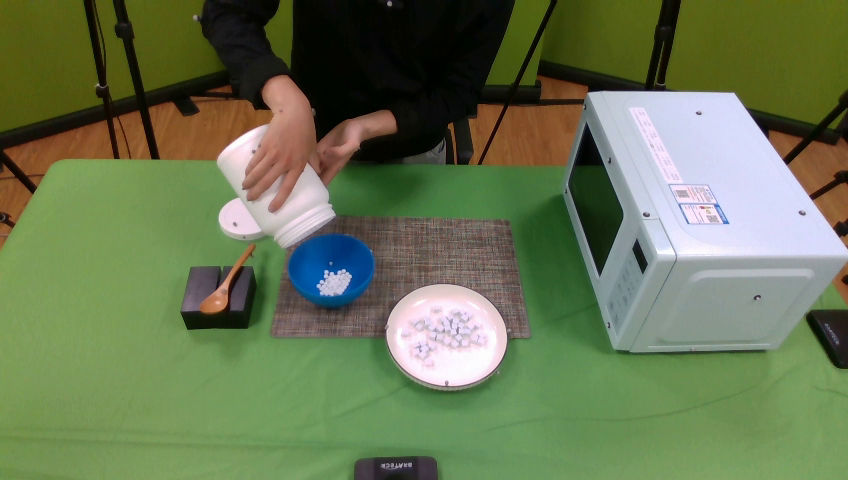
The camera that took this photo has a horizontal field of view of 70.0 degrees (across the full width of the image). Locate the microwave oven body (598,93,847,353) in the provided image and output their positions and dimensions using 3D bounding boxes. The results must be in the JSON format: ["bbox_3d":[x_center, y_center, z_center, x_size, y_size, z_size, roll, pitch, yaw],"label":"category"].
[{"bbox_3d":[0.475,-0.041,1.109,0.326,0.261,0.438,-1,45,-4],"label":"microwave oven body"}]

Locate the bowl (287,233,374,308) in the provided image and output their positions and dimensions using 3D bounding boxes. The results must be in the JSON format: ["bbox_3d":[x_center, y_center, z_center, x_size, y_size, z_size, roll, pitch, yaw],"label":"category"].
[{"bbox_3d":[-0.164,0.068,1.078,0.151,0.077,0.150,3,46,-2],"label":"bowl"}]

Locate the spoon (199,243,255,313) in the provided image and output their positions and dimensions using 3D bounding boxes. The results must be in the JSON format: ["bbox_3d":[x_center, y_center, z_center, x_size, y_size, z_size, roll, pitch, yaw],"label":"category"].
[{"bbox_3d":[-0.334,0.062,1.052,0.041,0.022,0.193,8,40,8],"label":"spoon"}]

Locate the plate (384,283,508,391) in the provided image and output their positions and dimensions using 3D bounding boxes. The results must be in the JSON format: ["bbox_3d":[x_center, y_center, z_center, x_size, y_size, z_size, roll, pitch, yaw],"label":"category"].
[{"bbox_3d":[0.036,0.165,1.029,0.209,0.038,0.208,2,49,-2],"label":"plate"}]

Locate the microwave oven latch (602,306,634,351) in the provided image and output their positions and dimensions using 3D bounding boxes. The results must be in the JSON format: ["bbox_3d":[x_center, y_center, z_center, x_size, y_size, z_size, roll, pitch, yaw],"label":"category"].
[{"bbox_3d":[0.332,0.153,1.044,0.030,0.029,0.078,0,45,-4],"label":"microwave oven latch"}]

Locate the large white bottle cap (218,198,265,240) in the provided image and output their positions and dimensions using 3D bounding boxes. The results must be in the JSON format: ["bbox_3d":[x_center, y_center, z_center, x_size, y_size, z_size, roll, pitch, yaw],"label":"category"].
[{"bbox_3d":[-0.355,-0.045,1.220,0.115,0.018,0.114,2,45,-2],"label":"large white bottle cap"}]

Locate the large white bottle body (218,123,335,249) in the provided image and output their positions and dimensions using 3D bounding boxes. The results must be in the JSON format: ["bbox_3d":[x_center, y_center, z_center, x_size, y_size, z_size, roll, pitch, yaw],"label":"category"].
[{"bbox_3d":[-0.245,-0.088,1.029,0.130,0.130,0.184,-34,93,-32],"label":"large white bottle body"}]

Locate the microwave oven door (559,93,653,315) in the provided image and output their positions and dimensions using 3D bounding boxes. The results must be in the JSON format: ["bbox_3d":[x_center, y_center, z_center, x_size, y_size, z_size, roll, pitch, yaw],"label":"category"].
[{"bbox_3d":[0.327,-0.074,1.123,0.039,0.245,0.353,-1,46,-5],"label":"microwave oven door"}]
